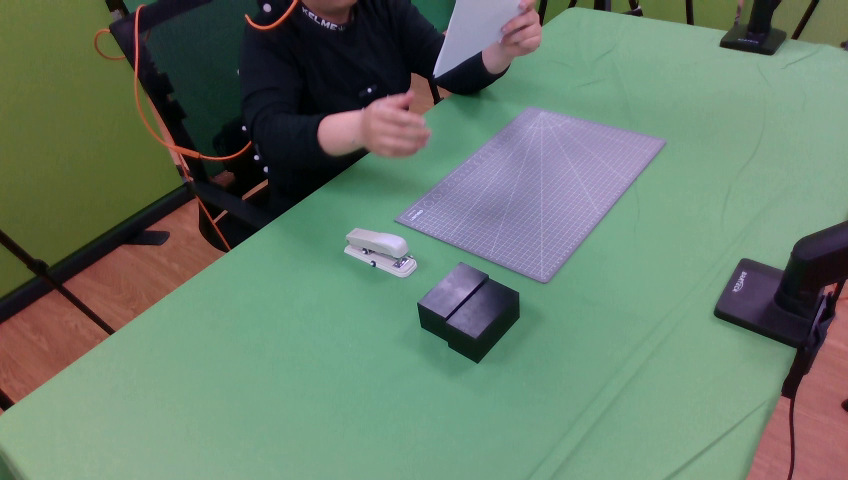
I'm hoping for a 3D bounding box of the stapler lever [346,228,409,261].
[{"bbox_3d":[-0.074,0.001,0.949,0.117,0.040,0.027,20,46,31],"label":"stapler lever"}]

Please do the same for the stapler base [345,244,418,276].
[{"bbox_3d":[-0.069,0.020,0.964,0.129,0.024,0.041,19,45,31],"label":"stapler base"}]
